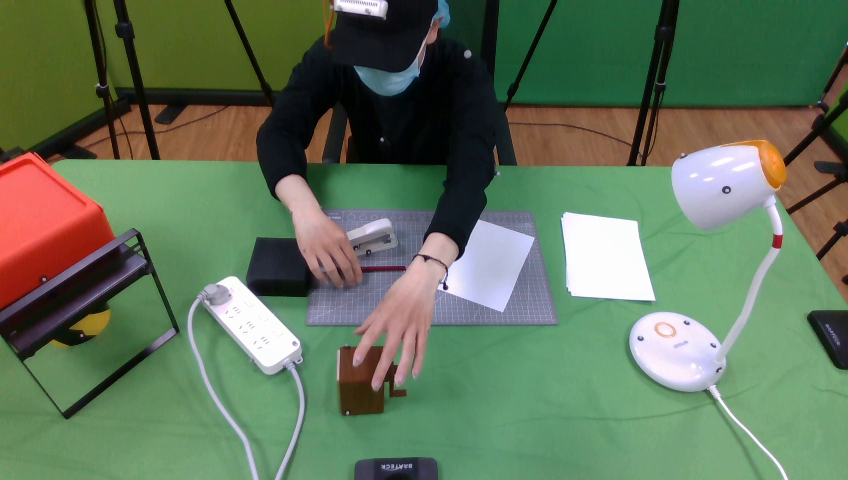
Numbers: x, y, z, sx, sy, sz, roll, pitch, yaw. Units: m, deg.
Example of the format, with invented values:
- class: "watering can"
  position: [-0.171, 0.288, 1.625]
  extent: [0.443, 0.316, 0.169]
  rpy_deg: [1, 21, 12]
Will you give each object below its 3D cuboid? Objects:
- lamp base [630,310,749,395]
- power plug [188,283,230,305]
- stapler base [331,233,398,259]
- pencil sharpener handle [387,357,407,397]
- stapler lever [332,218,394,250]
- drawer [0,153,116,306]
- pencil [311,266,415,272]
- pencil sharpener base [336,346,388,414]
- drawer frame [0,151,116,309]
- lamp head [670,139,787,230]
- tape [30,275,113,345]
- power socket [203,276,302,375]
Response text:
- class: "lamp base"
  position: [0.447, 0.143, 0.984]
  extent: [0.161, 0.181, 0.178]
  rpy_deg: [-24, 55, -24]
- class: "power plug"
  position: [-0.368, 0.099, 1.037]
  extent: [0.072, 0.053, 0.035]
  rpy_deg: [-24, 52, -25]
- class: "stapler base"
  position: [-0.116, 0.004, 1.181]
  extent: [0.131, 0.024, 0.041]
  rpy_deg: [-13, 48, -14]
- class: "pencil sharpener handle"
  position: [-0.041, 0.209, 0.919]
  extent: [0.031, 0.068, 0.036]
  rpy_deg: [-1, 24, -6]
- class: "stapler lever"
  position: [-0.116, -0.012, 1.162]
  extent: [0.118, 0.040, 0.026]
  rpy_deg: [-13, 48, -15]
- class: "drawer"
  position: [-0.601, -0.015, 0.880]
  extent: [0.193, 0.073, 0.211]
  rpy_deg: [32, 53, 23]
- class: "pencil"
  position: [-0.115, 0.054, 1.143]
  extent: [0.194, 0.012, 0.012]
  rpy_deg: [0, 46, -5]
- class: "pencil sharpener base"
  position: [-0.093, 0.215, 0.927]
  extent: [0.077, 0.107, 0.061]
  rpy_deg: [-1, 46, -6]
- class: "drawer frame"
  position: [-0.604, -0.013, 0.875]
  extent: [0.201, 0.083, 0.213]
  rpy_deg: [31, 52, 23]
- class: "lamp head"
  position: [0.415, -0.079, 0.812]
  extent: [0.113, 0.123, 0.112]
  rpy_deg: [13, 70, -37]
- class: "tape"
  position: [-0.593, 0.117, 1.021]
  extent: [0.117, 0.053, 0.116]
  rpy_deg: [2, 46, -2]
- class: "power socket"
  position: [-0.297, 0.141, 1.034]
  extent: [0.072, 0.033, 0.225]
  rpy_deg: [-34, 58, -30]
